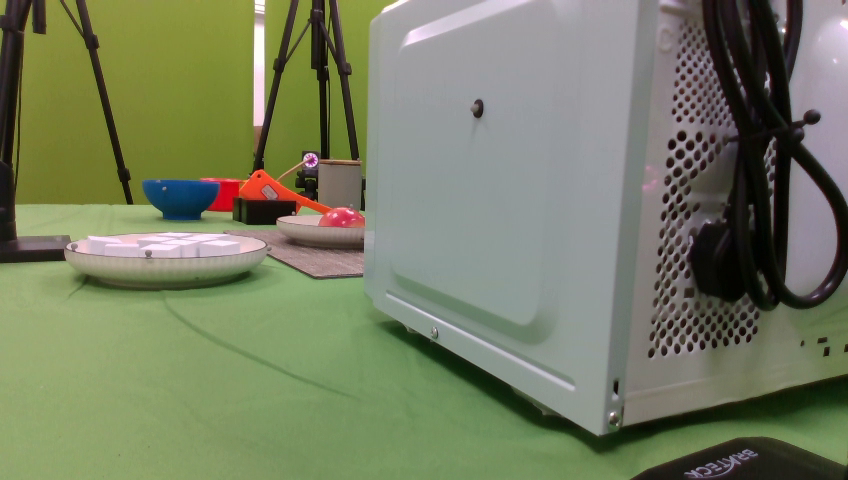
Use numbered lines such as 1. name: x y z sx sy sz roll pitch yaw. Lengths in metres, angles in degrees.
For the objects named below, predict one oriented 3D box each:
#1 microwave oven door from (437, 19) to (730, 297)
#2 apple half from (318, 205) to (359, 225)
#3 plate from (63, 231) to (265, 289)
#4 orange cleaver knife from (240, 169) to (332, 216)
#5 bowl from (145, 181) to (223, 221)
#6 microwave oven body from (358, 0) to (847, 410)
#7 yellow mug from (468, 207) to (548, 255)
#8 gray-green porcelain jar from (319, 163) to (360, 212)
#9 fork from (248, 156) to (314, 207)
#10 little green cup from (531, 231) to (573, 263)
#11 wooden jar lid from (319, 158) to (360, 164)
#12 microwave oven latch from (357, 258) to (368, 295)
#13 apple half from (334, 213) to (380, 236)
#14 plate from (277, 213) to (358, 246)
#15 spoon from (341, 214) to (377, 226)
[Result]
1. microwave oven door: 0.181 -0.076 0.618 0.358 0.243 0.039 -2 9 -28
2. apple half: -0.126 -0.029 0.954 0.081 0.053 0.074 -2 11 -33
3. plate: -0.288 0.021 0.687 0.208 0.039 0.207 2 8 0
4. orange cleaver knife: -0.286 -0.082 1.298 0.212 0.077 0.012 25 -2 -31
5. bowl: -0.499 -0.081 1.261 0.151 0.077 0.151 2 8 0
6. microwave oven body: 0.210 -0.051 0.471 0.444 0.260 0.324 -1 7 -28
7. yellow mug: 0.136 -0.015 0.950 0.131 0.064 0.099 3 6 -20
8. gray-green porcelain jar: -0.204 -0.126 1.490 0.106 0.126 0.106 2 8 0
9. fork: -0.360 -0.147 1.523 0.207 0.019 0.028 -43 17 -6
10. little green cup: 0.184 0.009 0.879 0.061 0.038 0.061 3 9 0
11. wooden jar lid: -0.203 -0.189 1.482 0.108 0.020 0.108 2 10 0
12. microwave oven latch: -0.019 0.031 0.529 0.079 0.029 0.030 -1 7 -26
13. apple half: -0.112 -0.029 1.034 0.081 0.033 0.081 0 10 0
14. plate: -0.135 -0.018 0.994 0.209 0.038 0.209 2 7 0
15. spoon: -0.132 -0.047 1.305 0.041 0.021 0.194 -15 4 14
